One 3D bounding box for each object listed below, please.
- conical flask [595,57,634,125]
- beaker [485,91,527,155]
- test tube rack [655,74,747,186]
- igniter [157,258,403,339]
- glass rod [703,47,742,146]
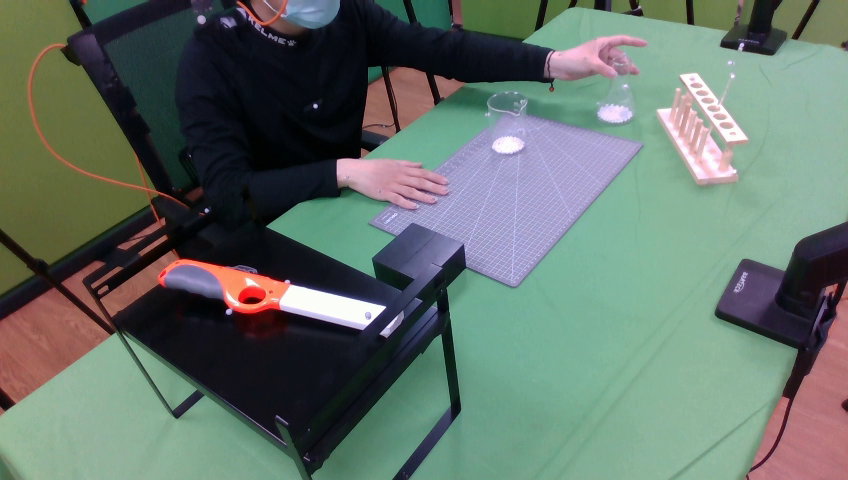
[{"bbox_3d":[0.378,-0.293,1.183,0.075,0.122,0.075,-4,42,4],"label":"conical flask"},{"bbox_3d":[0.158,-0.217,1.141,0.074,0.101,0.083,-19,42,-12],"label":"beaker"},{"bbox_3d":[0.491,-0.205,1.092,0.067,0.085,0.241,-5,40,3],"label":"test tube rack"},{"bbox_3d":[-0.157,0.059,0.638,0.275,0.025,0.057,11,43,14],"label":"igniter"},{"bbox_3d":[0.503,-0.237,1.027,0.008,0.200,0.008,-2,49,2],"label":"glass rod"}]
